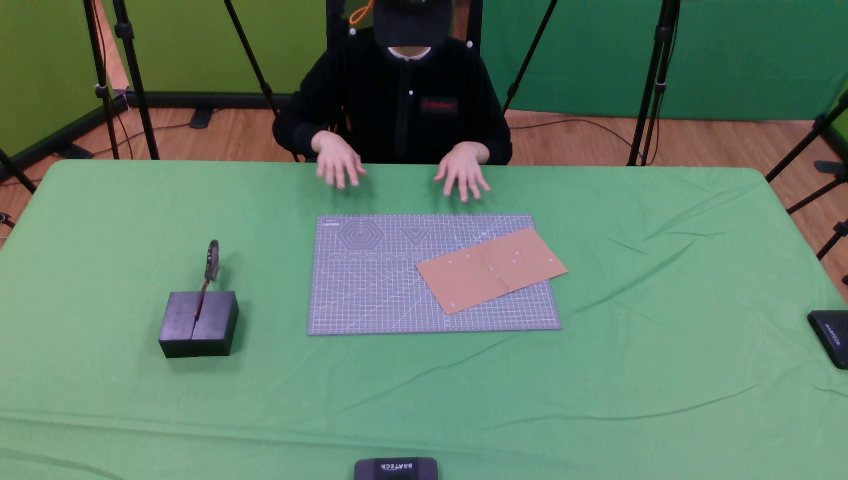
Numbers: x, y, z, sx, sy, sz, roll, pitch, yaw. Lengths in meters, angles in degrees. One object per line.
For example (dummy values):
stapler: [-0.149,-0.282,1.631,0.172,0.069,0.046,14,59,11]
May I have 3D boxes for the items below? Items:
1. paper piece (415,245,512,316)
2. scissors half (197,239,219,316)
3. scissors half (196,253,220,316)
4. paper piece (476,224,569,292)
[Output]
paper piece: [0.072,0.071,1.140,0.138,0.009,0.135,-18,46,-18]
scissors half: [-0.375,0.063,1.049,0.013,0.040,0.174,7,46,-12]
scissors half: [-0.379,0.078,1.062,0.013,0.040,0.174,3,29,-8]
paper piece: [0.192,0.033,1.185,0.136,0.004,0.134,-17,51,-19]
